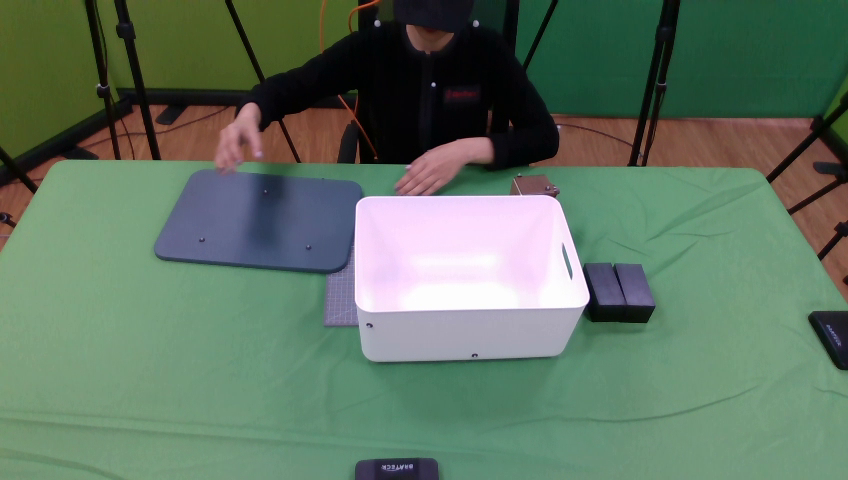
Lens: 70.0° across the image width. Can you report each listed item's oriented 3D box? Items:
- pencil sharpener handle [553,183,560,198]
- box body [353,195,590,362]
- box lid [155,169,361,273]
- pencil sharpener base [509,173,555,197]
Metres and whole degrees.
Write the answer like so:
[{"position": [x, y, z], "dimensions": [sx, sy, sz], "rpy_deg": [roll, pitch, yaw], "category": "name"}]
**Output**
[{"position": [0.267, -0.089, 1.224], "dimensions": [0.031, 0.068, 0.035], "rpy_deg": [-6, 44, -10], "category": "pencil sharpener handle"}, {"position": [0.065, 0.066, 1.040], "dimensions": [0.364, 0.161, 0.252], "rpy_deg": [-1, 46, -5], "category": "box body"}, {"position": [-0.321, -0.044, 1.225], "dimensions": [0.371, 0.015, 0.261], "rpy_deg": [4, 46, 1], "category": "box lid"}, {"position": [0.216, -0.075, 1.223], "dimensions": [0.077, 0.107, 0.061], "rpy_deg": [-6, 46, -10], "category": "pencil sharpener base"}]
